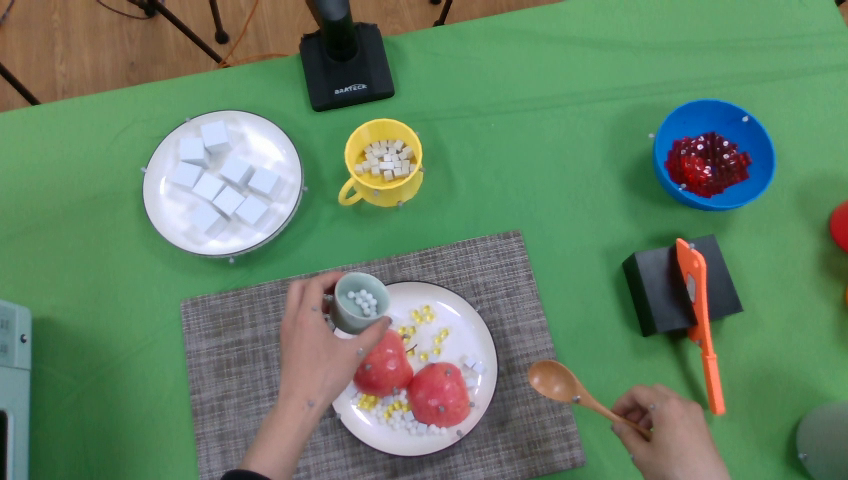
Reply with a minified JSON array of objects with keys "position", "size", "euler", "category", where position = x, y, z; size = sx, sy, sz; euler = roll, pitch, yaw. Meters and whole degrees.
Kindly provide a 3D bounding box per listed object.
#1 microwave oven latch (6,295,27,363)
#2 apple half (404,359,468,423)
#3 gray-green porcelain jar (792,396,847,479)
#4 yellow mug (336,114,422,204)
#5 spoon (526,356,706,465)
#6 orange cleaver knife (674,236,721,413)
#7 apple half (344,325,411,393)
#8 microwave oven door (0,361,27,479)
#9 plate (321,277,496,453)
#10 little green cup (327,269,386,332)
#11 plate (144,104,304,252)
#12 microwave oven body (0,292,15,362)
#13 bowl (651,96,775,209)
[{"position":[-0.500,0.108,0.731],"size":[0.030,0.029,0.078],"euler":[-7,74,-3],"category":"microwave oven latch"},{"position":[0.013,0.179,0.718],"size":[0.081,0.033,0.081],"euler":[0,71,1],"category":"apple half"},{"position":[0.484,0.225,0.668],"size":[0.106,0.127,0.105],"euler":[0,73,0],"category":"gray-green porcelain jar"},{"position":[-0.064,-0.096,0.796],"size":[0.131,0.064,0.099],"euler":[-43,78,-11],"category":"yellow mug"},{"position":[0.190,0.176,0.621],"size":[0.192,0.022,0.041],"euler":[28,101,33],"category":"spoon"},{"position":[0.326,0.100,0.728],"size":[0.012,0.077,0.211],"euler":[-11,97,1],"category":"orange cleaver knife"},{"position":[-0.057,0.140,0.720],"size":[0.075,0.053,0.080],"euler":[-14,75,-2],"category":"apple half"},{"position":[-0.469,0.285,0.572],"size":[0.039,0.245,0.353],"euler":[-9,73,-2],"category":"microwave oven door"},{"position":[-0.018,0.149,0.734],"size":[0.209,0.038,0.208],"euler":[0,74,0],"category":"plate"},{"position":[-0.074,0.067,0.646],"size":[0.062,0.039,0.061],"euler":[15,43,-14],"category":"little green cup"},{"position":[-0.261,-0.081,0.806],"size":[0.208,0.039,0.206],"euler":[0,73,0],"category":"plate"},{"position":[-0.620,0.268,0.583],"size":[0.326,0.261,0.439],"euler":[-8,74,-3],"category":"microwave oven body"},{"position":[0.362,-0.102,0.790],"size":[0.151,0.077,0.150],"euler":[0,74,0],"category":"bowl"}]
